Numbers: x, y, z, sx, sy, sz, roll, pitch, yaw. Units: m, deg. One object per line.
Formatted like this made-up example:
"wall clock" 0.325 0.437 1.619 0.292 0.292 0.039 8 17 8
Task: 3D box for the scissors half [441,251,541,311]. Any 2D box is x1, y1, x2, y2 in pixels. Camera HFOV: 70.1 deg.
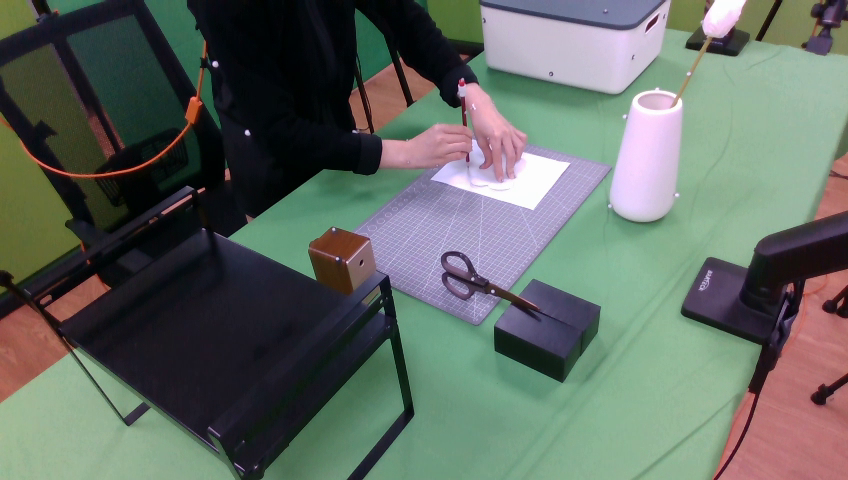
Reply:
"scissors half" 0.087 0.056 0.824 0.173 0.040 0.013 29 44 36

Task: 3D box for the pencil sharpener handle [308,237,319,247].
"pencil sharpener handle" -0.159 0.017 0.892 0.030 0.068 0.036 18 61 28

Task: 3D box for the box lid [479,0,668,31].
"box lid" 0.335 -0.536 1.331 0.368 0.015 0.264 23 49 30

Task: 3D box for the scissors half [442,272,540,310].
"scissors half" 0.089 0.074 0.833 0.013 0.040 0.173 -24 23 -38

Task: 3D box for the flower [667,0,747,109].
"flower" 0.354 -0.187 0.879 0.038 0.362 0.044 31 48 14

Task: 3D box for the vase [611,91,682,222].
"vase" 0.348 -0.125 0.935 0.098 0.201 0.097 -3 40 3

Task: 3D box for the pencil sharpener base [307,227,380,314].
"pencil sharpener base" -0.116 0.043 0.875 0.076 0.107 0.061 18 47 27

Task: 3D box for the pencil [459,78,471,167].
"pencil" 0.073 -0.200 1.060 0.012 0.195 0.012 -4 50 6

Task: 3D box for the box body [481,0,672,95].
"box body" 0.341 -0.480 1.381 0.361 0.161 0.255 22 48 30
